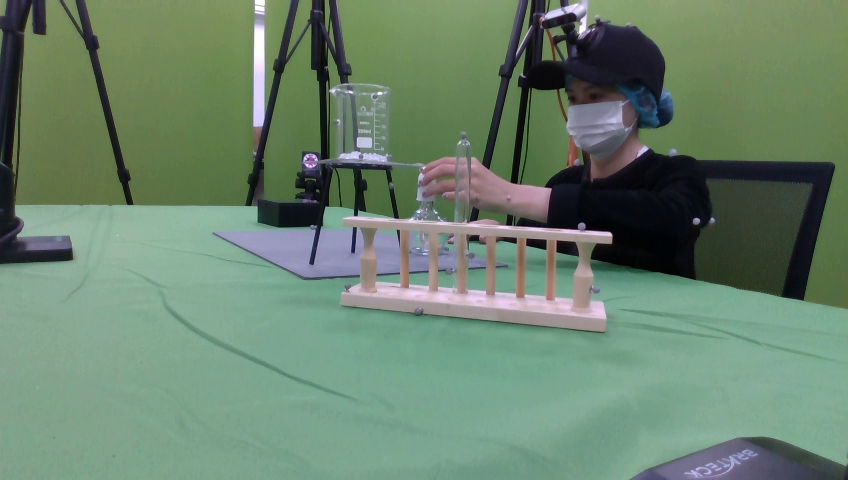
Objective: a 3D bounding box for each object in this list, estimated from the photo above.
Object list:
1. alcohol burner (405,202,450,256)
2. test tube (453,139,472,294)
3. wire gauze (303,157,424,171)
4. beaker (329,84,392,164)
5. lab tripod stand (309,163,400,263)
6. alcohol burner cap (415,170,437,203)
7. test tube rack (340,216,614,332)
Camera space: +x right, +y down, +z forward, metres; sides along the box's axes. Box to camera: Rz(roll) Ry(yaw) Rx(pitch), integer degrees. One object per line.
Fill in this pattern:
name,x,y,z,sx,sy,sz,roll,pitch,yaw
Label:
alcohol burner,0.004,-0.036,0.917,0.078,0.119,0.078,3,6,0
test tube,0.037,-0.021,0.584,0.017,0.150,0.017,1,7,0
wire gauze,-0.082,-0.101,0.799,0.126,0.011,0.121,1,7,-30
beaker,-0.084,-0.149,0.794,0.084,0.100,0.073,-1,6,-23
lab tripod stand,-0.091,-0.037,0.813,0.148,0.131,0.148,1,6,0
alcohol burner cap,0.004,-0.081,0.912,0.034,0.048,0.034,1,10,0
test tube rack,0.048,0.026,0.568,0.242,0.085,0.067,4,7,13
